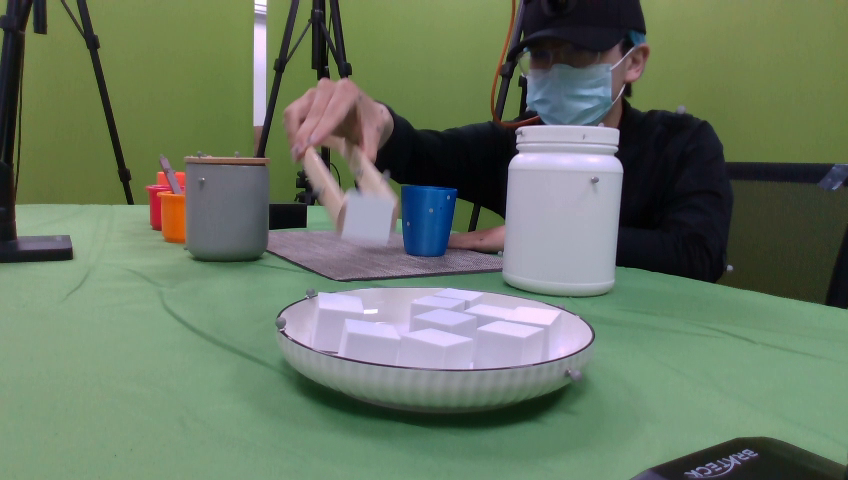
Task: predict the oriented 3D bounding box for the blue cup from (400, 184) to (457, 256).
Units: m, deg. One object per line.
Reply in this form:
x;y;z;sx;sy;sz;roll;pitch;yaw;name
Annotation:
0.003;-0.030;0.900;0.093;0.100;0.092;4;9;0;blue cup

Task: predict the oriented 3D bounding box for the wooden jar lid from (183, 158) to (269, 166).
-0.260;-0.099;0.800;0.108;0.020;0.108;0;9;0;wooden jar lid

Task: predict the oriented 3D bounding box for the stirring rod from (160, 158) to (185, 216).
-0.391;-0.070;0.971;0.014;0.006;0.175;-2;50;-48;stirring rod

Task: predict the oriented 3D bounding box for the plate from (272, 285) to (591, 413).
0.004;0.069;0.407;0.208;0.039;0.207;2;7;0;plate

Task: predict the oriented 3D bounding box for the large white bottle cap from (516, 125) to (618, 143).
0.163;-0.120;0.694;0.115;0.018;0.115;2;8;0;large white bottle cap

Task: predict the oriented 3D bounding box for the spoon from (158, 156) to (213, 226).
-0.435;-0.094;1.121;0.041;0.022;0.193;4;51;14;spoon

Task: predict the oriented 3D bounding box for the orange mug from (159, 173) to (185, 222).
-0.477;-0.089;1.240;0.127;0.101;0.083;-7;11;-33;orange mug

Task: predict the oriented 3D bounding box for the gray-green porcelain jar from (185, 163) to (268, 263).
-0.263;-0.038;0.808;0.106;0.126;0.106;3;8;0;gray-green porcelain jar

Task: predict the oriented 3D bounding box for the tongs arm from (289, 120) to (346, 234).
-0.105;-0.076;0.573;0.028;0.028;0.386;5;17;-18;tongs arm

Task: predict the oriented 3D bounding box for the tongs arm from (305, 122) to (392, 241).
-0.084;-0.073;0.581;0.051;0.026;0.383;10;15;-15;tongs arm

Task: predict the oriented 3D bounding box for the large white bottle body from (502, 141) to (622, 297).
0.160;-0.036;0.706;0.131;0.184;0.130;2;7;0;large white bottle body
